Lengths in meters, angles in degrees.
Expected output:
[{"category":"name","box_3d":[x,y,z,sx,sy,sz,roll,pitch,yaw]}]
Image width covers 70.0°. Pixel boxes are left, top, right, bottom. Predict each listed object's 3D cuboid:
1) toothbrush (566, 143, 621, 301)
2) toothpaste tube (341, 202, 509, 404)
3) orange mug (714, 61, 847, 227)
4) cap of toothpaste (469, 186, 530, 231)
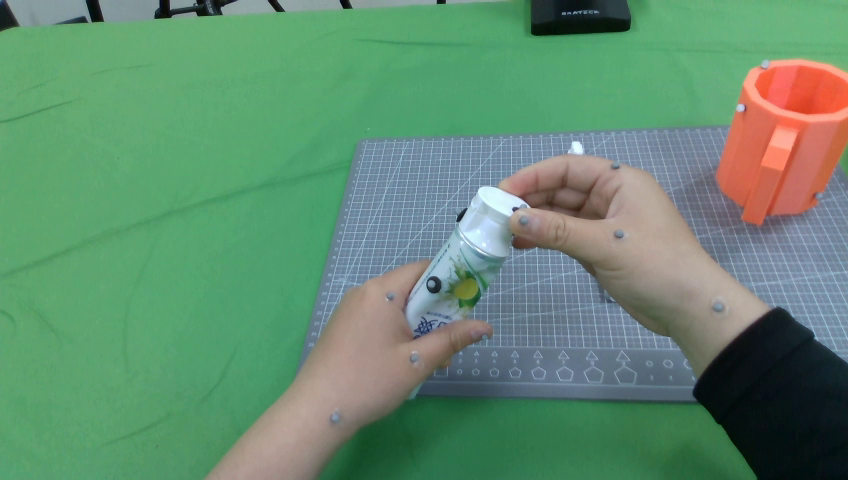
[{"category":"toothbrush","box_3d":[0.144,-0.022,0.518,0.014,0.017,0.180,4,48,-6]},{"category":"toothpaste tube","box_3d":[0.004,0.045,0.376,0.055,0.165,0.034,19,28,-21]},{"category":"orange mug","box_3d":[0.287,-0.072,0.488,0.083,0.102,0.126,22,49,26]},{"category":"cap of toothpaste","box_3d":[0.043,-0.017,0.342,0.037,0.011,0.037,21,26,-10]}]
